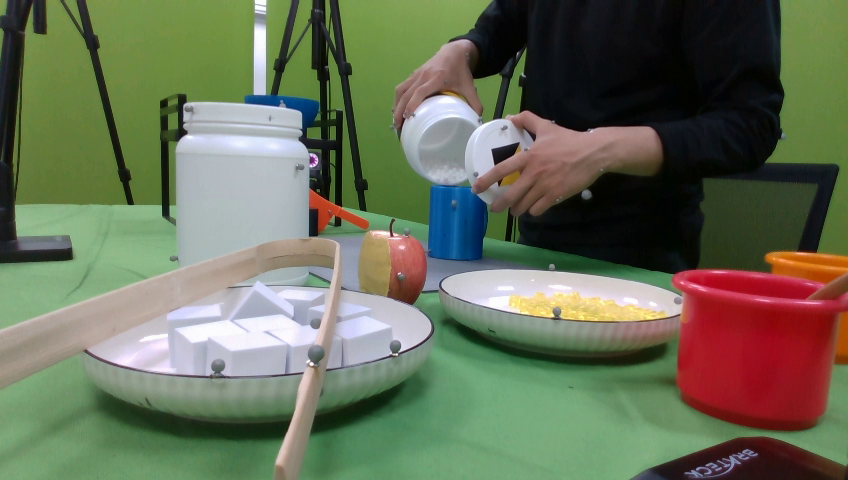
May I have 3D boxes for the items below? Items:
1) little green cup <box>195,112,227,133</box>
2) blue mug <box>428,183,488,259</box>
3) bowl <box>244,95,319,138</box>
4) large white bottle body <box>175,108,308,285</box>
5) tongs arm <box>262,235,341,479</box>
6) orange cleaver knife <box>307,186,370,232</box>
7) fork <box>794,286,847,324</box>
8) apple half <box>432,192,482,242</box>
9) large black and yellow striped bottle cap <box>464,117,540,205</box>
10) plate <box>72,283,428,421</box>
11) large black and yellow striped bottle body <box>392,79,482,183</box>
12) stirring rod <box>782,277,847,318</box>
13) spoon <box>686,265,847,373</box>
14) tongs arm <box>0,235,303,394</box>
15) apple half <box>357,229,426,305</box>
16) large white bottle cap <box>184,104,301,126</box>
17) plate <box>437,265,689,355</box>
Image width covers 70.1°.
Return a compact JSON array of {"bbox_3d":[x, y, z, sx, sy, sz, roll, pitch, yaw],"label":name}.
[{"bbox_3d":[-0.412,-0.227,1.171,0.061,0.038,0.061,3,8,0],"label":"little green cup"},{"bbox_3d":[0.059,-0.031,0.907,0.082,0.106,0.117,9,10,42],"label":"blue mug"},{"bbox_3d":[-0.293,-0.251,1.249,0.151,0.077,0.151,2,7,0],"label":"bowl"},{"bbox_3d":[-0.188,-0.042,0.630,0.131,0.184,0.130,2,8,0],"label":"large white bottle body"},{"bbox_3d":[-0.074,0.039,0.349,0.051,0.026,0.384,-2,10,-3],"label":"tongs arm"},{"bbox_3d":[-0.197,-0.056,1.141,0.212,0.077,0.012,29,0,-35],"label":"orange cleaver knife"},{"bbox_3d":[0.332,0.018,0.443,0.028,0.018,0.207,-1,-36,-15],"label":"fork"},{"bbox_3d":[0.048,-0.037,0.906,0.081,0.081,0.033,2,15,-1],"label":"apple half"},{"bbox_3d":[0.103,-0.103,0.786,0.115,0.115,0.018,-3,-2,-32],"label":"large black and yellow striped bottle cap"},{"bbox_3d":[-0.102,0.066,0.381,0.208,0.039,0.207,2,7,0],"label":"plate"},{"bbox_3d":[0.024,-0.175,0.972,0.131,0.130,0.183,1,28,-13],"label":"large black and yellow striped bottle body"},{"bbox_3d":[0.344,0.019,0.461,0.014,0.006,0.176,-13,-27,-30],"label":"stirring rod"},{"bbox_3d":[0.214,0.032,0.328,0.042,0.021,0.193,-2,-35,-25],"label":"spoon"},{"bbox_3d":[-0.157,0.038,0.351,0.028,0.028,0.388,-3,8,12],"label":"tongs arm"},{"bbox_3d":[-0.026,0.028,0.570,0.053,0.074,0.080,3,2,-28],"label":"apple half"},{"bbox_3d":[-0.184,-0.126,0.618,0.115,0.018,0.115,2,8,0],"label":"large white bottle cap"},{"bbox_3d":[0.114,0.057,0.517,0.209,0.038,0.209,3,8,0],"label":"plate"}]
